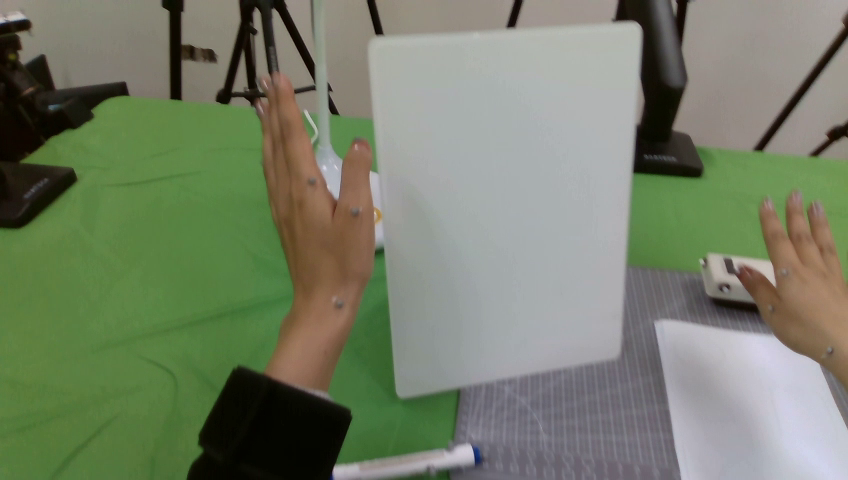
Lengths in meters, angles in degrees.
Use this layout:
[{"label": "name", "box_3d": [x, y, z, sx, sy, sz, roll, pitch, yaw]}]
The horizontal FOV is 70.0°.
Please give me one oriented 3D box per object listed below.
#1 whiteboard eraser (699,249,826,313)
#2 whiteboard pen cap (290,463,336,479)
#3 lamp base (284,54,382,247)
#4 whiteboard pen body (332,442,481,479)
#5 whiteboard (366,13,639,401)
[{"label": "whiteboard eraser", "box_3d": [0.350, 0.044, 0.633, 0.112, 0.042, 0.055, 9, 39, 9]}, {"label": "whiteboard pen cap", "box_3d": [-0.083, 0.177, 0.453, 0.033, 0.018, 0.018, -4, 38, -15]}, {"label": "lamp base", "box_3d": [-0.095, -0.110, 0.697, 0.161, 0.182, 0.177, -26, 44, -32]}, {"label": "whiteboard pen body", "box_3d": [-0.024, 0.173, 0.465, 0.141, 0.017, 0.017, -5, 38, -12]}, {"label": "whiteboard", "box_3d": [0.058, -0.039, 0.559, 0.218, 0.307, 0.142, -7, 20, -11]}]
